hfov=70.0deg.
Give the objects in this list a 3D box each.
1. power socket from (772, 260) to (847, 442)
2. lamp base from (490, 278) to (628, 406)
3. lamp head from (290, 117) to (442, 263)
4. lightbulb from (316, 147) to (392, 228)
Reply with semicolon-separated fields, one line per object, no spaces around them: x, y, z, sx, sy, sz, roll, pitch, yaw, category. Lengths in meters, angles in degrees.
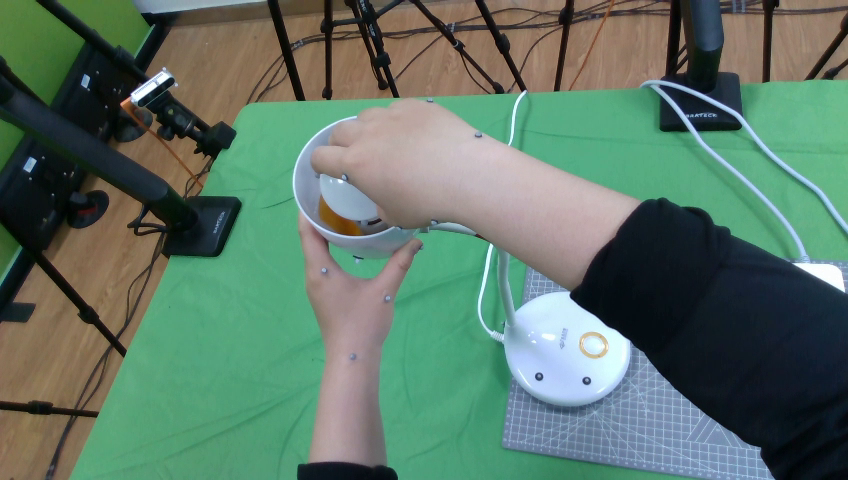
0.466;0.122;0.721;0.072;0.033;0.225;2;58;17;power socket
0.153;0.099;0.737;0.178;0.182;0.159;-4;57;18;lamp base
-0.043;-0.030;0.531;0.112;0.124;0.111;-4;66;10;lamp head
-0.053;-0.036;0.504;0.059;0.108;0.059;-2;72;5;lightbulb
